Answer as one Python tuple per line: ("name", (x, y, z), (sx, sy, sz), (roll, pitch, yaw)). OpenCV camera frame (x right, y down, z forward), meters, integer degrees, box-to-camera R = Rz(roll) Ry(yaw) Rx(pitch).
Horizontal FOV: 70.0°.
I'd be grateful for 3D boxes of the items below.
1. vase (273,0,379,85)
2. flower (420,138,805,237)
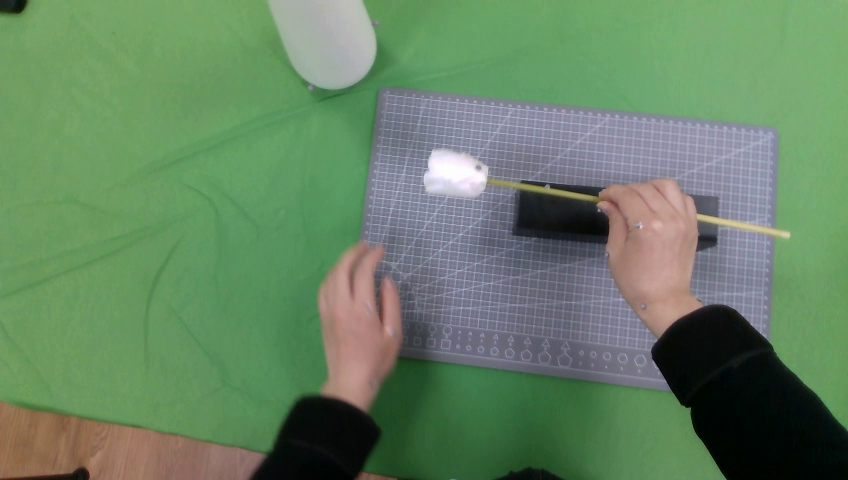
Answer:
("vase", (-0.101, -0.233, 0.601), (0.098, 0.200, 0.098), (0, 81, 1))
("flower", (0.176, -0.041, 0.564), (0.362, 0.038, 0.043), (11, 62, 0))
